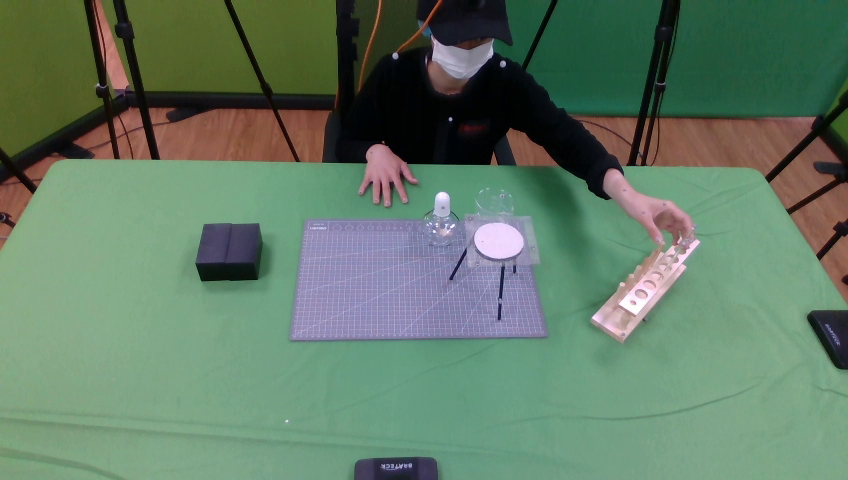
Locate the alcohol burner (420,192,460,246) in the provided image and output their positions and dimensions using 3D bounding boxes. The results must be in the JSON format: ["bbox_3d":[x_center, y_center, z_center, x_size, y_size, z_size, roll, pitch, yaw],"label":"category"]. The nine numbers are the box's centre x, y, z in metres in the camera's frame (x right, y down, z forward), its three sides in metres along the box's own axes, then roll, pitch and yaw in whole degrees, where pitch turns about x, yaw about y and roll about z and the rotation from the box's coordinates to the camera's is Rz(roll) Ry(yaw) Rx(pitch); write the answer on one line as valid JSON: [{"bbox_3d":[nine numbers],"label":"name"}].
[{"bbox_3d":[0.032,-0.046,1.176,0.078,0.120,0.077,2,44,-1],"label":"alcohol burner"}]

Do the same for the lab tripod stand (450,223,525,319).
[{"bbox_3d":[0.120,0.046,1.080,0.148,0.132,0.147,1,47,-1],"label":"lab tripod stand"}]

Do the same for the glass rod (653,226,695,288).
[{"bbox_3d":[0.432,0.037,1.057,0.008,0.200,0.008,1,54,-1],"label":"glass rod"}]

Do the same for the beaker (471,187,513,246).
[{"bbox_3d":[0.134,-0.042,1.190,0.083,0.101,0.074,34,53,25],"label":"beaker"}]

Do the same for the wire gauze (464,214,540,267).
[{"bbox_3d":[0.131,-0.002,1.034,0.121,0.011,0.124,1,45,-2],"label":"wire gauze"}]

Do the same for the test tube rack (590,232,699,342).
[{"bbox_3d":[0.407,0.074,1.111,0.066,0.085,0.242,35,54,26],"label":"test tube rack"}]

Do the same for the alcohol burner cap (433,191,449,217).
[{"bbox_3d":[0.033,-0.070,1.150,0.034,0.048,0.033,0,45,0],"label":"alcohol burner cap"}]
